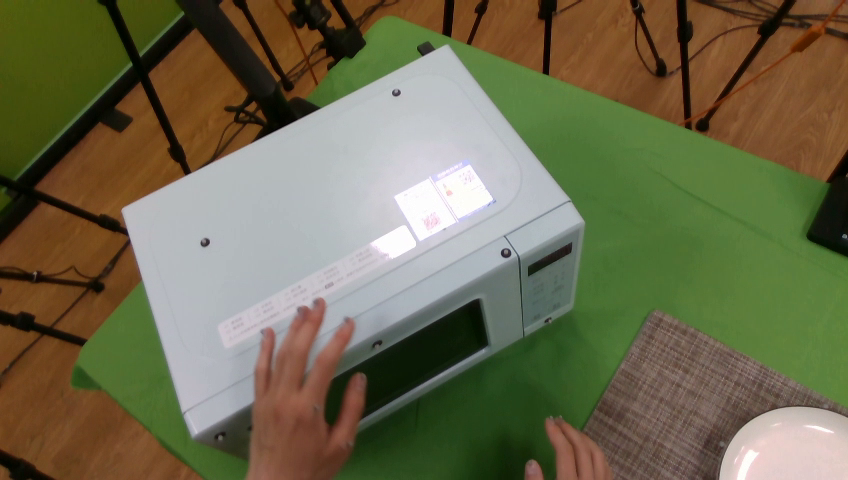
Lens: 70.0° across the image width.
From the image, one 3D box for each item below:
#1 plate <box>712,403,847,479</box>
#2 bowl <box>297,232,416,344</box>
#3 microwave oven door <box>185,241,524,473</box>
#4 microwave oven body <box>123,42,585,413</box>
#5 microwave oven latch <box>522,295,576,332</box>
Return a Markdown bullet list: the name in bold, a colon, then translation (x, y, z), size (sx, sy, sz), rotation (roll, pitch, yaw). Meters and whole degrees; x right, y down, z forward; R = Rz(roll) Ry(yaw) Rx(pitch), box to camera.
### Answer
- **plate**: translation (0.422, 0.286, 0.661), size (0.207, 0.039, 0.206), rotation (-4, 62, 8)
- **bowl**: translation (-0.079, 0.074, 0.779), size (0.151, 0.077, 0.150), rotation (-5, 57, 8)
- **microwave oven door**: translation (-0.050, 0.144, 0.688), size (0.356, 0.246, 0.039), rotation (-29, 60, -6)
- **microwave oven body**: translation (-0.078, 0.018, 0.766), size (0.442, 0.262, 0.322), rotation (-29, 61, -5)
- **microwave oven latch**: translation (0.160, 0.089, 0.797), size (0.079, 0.030, 0.030), rotation (-27, 61, -4)
